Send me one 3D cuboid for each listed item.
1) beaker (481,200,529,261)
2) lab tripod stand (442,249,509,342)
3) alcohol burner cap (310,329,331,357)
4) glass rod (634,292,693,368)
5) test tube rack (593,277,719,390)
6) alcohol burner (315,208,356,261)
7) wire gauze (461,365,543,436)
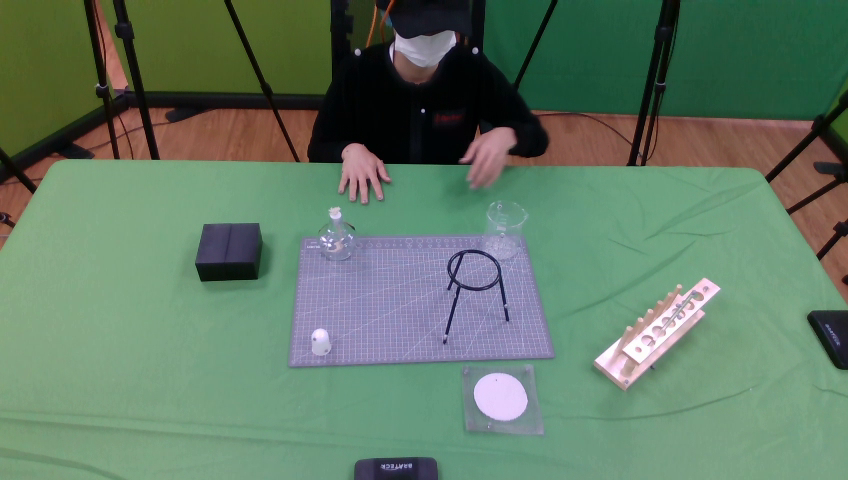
[{"bbox_3d":[0.153,-0.016,1.169,0.084,0.101,0.073,-2,46,-7],"label":"beaker"},{"bbox_3d":[0.082,0.090,1.036,0.148,0.132,0.147,3,44,-3],"label":"lab tripod stand"},{"bbox_3d":[-0.173,0.168,1.005,0.034,0.048,0.033,2,46,-2],"label":"alcohol burner cap"},{"bbox_3d":[0.370,0.146,0.951,0.008,0.200,0.008,8,45,-8],"label":"glass rod"},{"bbox_3d":[0.401,0.148,1.043,0.242,0.085,0.066,-30,55,-29],"label":"test tube rack"},{"bbox_3d":[-0.166,-0.017,1.134,0.078,0.119,0.077,2,48,-2],"label":"alcohol burner"},{"bbox_3d":[0.124,0.254,0.974,0.125,0.011,0.120,3,47,-3],"label":"wire gauze"}]
